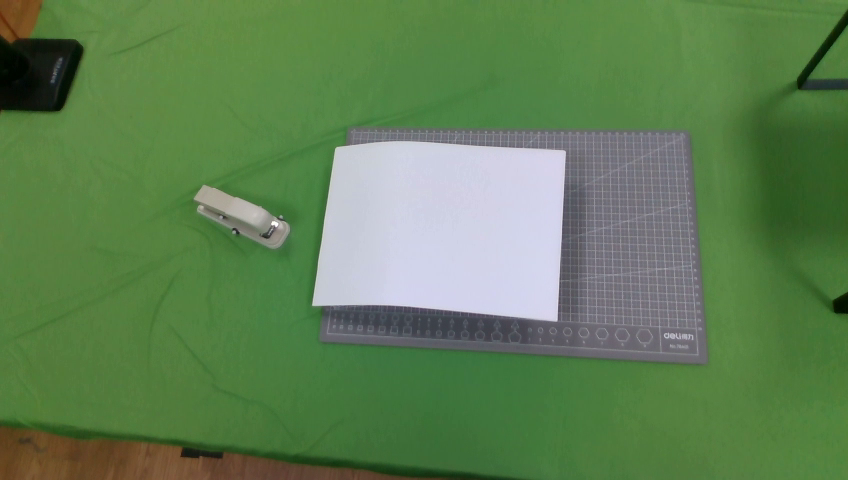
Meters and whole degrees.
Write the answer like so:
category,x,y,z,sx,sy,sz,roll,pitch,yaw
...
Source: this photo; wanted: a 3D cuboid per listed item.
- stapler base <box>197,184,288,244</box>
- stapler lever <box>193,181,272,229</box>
category,x,y,z,sx,sy,sz,roll,pitch,yaw
stapler base,-0.241,-0.038,0.791,0.130,0.024,0.041,24,73,15
stapler lever,-0.245,-0.046,0.769,0.117,0.040,0.026,24,72,14
